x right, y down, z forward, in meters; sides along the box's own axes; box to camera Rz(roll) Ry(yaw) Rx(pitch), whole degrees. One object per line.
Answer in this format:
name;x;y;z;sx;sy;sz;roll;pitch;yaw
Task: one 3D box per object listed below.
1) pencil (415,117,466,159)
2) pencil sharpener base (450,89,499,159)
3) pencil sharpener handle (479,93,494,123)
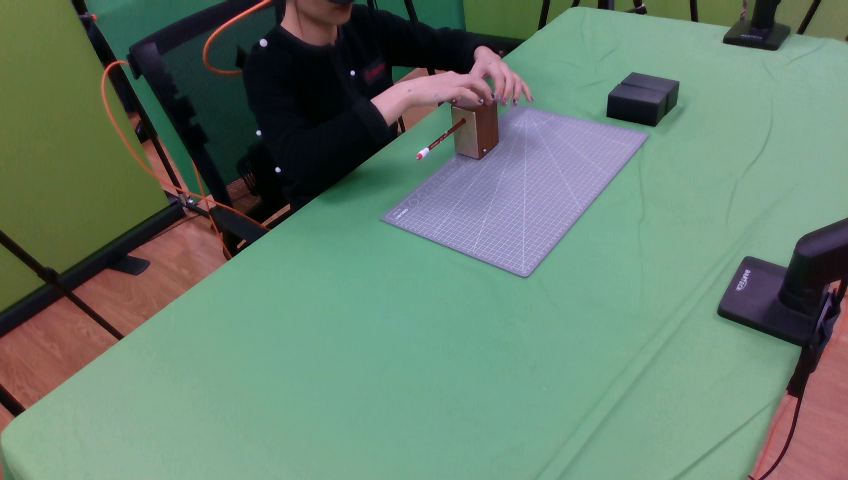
pencil;0.046;-0.197;1.093;0.012;0.012;0.194;23;50;32
pencil sharpener base;0.100;-0.222;1.154;0.061;0.107;0.077;22;49;33
pencil sharpener handle;0.127;-0.262;1.176;0.036;0.068;0.031;31;53;23
